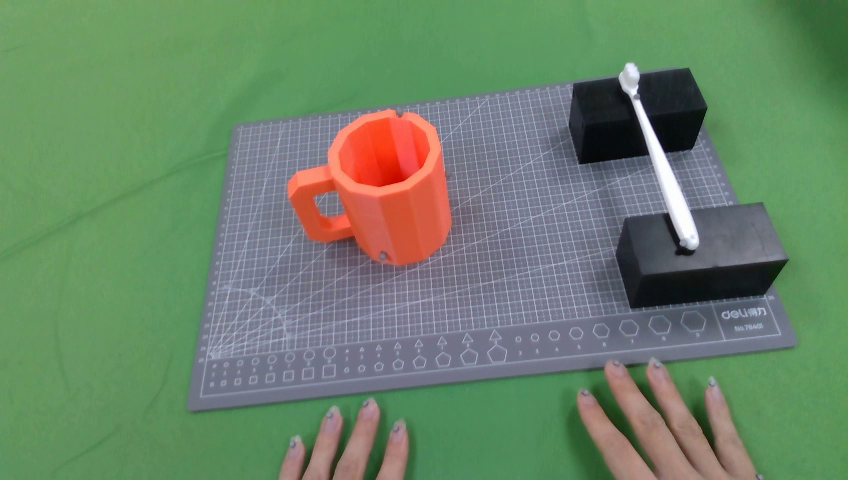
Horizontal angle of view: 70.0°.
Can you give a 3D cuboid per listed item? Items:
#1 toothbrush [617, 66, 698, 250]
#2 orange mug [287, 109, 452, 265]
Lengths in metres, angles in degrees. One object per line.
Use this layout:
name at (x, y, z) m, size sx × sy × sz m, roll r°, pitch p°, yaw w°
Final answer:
toothbrush at (0.180, -0.070, 0.470) m, size 0.014 × 0.017 × 0.180 m, roll 0°, pitch 57°, yaw -10°
orange mug at (-0.042, -0.037, 0.488) m, size 0.126 × 0.102 × 0.082 m, roll -11°, pitch 56°, yaw -5°
